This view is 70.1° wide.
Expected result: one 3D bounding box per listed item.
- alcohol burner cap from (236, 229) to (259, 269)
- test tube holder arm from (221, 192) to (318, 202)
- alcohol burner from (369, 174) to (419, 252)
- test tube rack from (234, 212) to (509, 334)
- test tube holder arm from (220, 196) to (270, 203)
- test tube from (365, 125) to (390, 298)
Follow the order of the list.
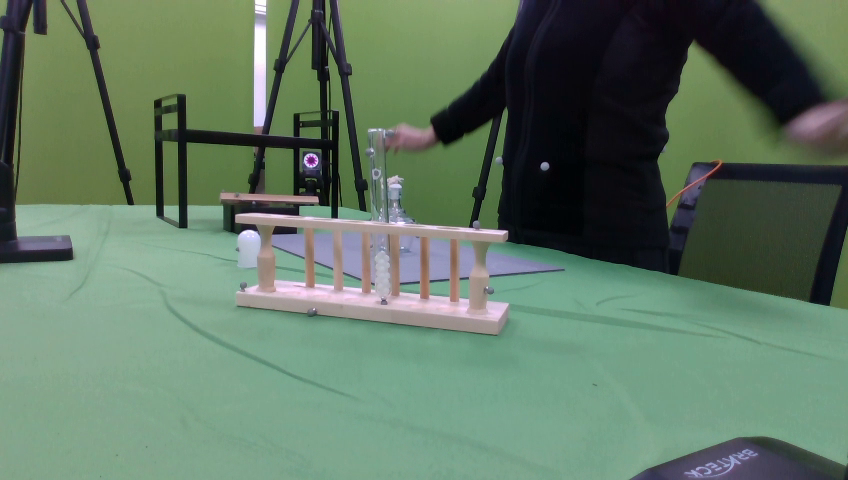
[{"bbox_3d":[-0.220,0.010,0.759,0.034,0.048,0.034,0,12,0],"label":"alcohol burner cap"},{"bbox_3d":[-0.281,-0.078,1.114,0.179,0.015,0.013,-2,-24,-29],"label":"test tube holder arm"},{"bbox_3d":[-0.047,-0.042,0.922,0.078,0.119,0.078,1,10,0],"label":"alcohol burner"},{"bbox_3d":[-0.047,0.023,0.547,0.242,0.085,0.067,4,8,15],"label":"test tube rack"},{"bbox_3d":[-0.323,-0.074,1.097,0.088,0.015,0.010,-2,-24,-28],"label":"test tube holder arm"},{"bbox_3d":[-0.040,-0.023,0.523,0.017,0.150,0.017,-2,8,1],"label":"test tube"}]
